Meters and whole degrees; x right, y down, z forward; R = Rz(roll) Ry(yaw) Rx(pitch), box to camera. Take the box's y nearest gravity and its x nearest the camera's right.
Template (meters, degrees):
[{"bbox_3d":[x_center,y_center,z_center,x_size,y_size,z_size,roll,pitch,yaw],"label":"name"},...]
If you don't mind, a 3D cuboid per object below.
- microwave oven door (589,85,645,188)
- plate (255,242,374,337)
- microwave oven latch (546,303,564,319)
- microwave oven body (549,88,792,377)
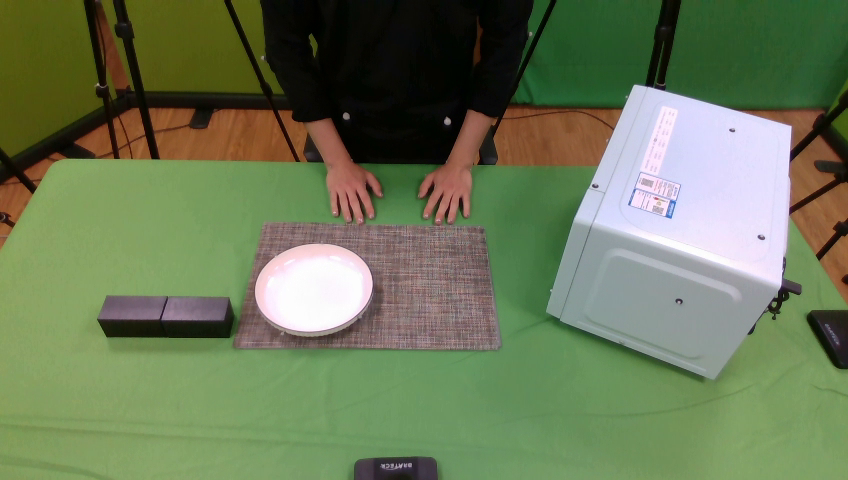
[{"bbox_3d":[0.342,-0.107,1.149,0.039,0.245,0.354,20,48,15],"label":"microwave oven door"},{"bbox_3d":[-0.192,0.090,1.079,0.208,0.039,0.206,2,46,-2],"label":"plate"},{"bbox_3d":[0.242,0.102,1.081,0.030,0.029,0.079,21,48,17],"label":"microwave oven latch"},{"bbox_3d":[0.456,-0.028,1.088,0.325,0.261,0.440,20,47,16],"label":"microwave oven body"}]
